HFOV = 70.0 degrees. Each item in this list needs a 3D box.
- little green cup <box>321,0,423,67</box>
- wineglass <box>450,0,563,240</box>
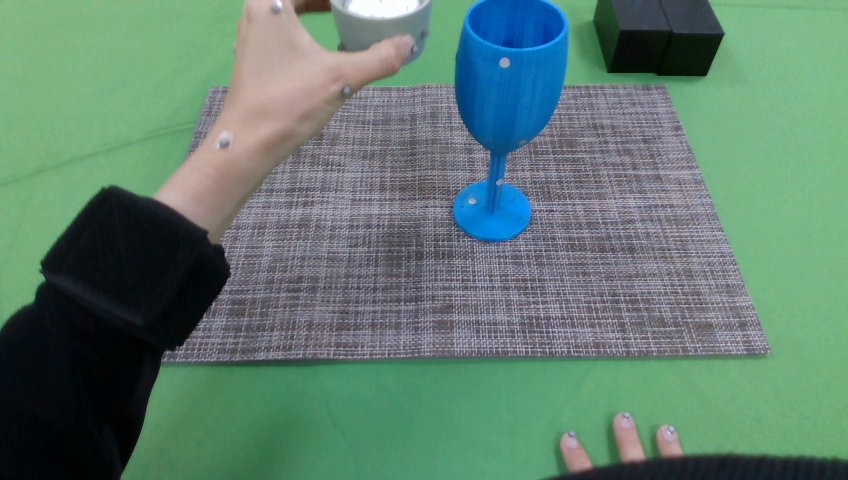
[{"bbox_3d":[-0.031,-0.135,0.362,0.061,0.039,0.061,3,52,-4],"label":"little green cup"},{"bbox_3d":[0.053,-0.079,0.430,0.074,0.174,0.073,0,51,0],"label":"wineglass"}]
